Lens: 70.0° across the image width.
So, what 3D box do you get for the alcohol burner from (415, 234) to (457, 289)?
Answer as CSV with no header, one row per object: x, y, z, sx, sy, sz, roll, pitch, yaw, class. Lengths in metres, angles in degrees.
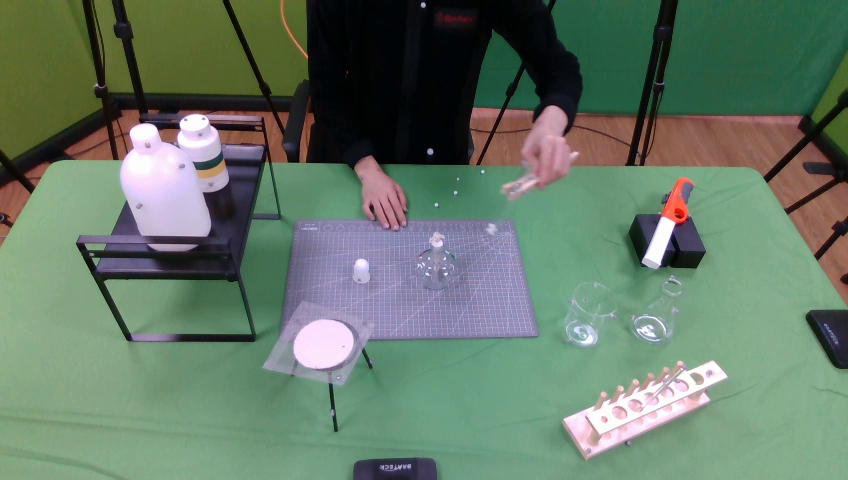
0.022,0.033,1.100,0.078,0.120,0.077,1,47,0,alcohol burner

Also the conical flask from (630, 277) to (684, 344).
0.408,0.117,1.045,0.075,0.122,0.075,2,46,-2,conical flask

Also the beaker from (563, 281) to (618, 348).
0.283,0.129,1.041,0.074,0.101,0.083,11,46,7,beaker

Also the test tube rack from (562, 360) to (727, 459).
0.341,0.247,0.940,0.243,0.085,0.066,-16,49,-18,test tube rack

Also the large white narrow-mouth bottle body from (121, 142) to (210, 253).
-0.378,-0.077,0.875,0.102,0.195,0.101,3,46,-3,large white narrow-mouth bottle body

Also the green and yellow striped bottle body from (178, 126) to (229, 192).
-0.361,-0.142,0.989,0.063,0.120,0.063,2,46,-2,green and yellow striped bottle body

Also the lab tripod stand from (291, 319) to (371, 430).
-0.146,0.193,0.923,0.148,0.132,0.147,1,47,-1,lab tripod stand

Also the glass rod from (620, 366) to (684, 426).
0.322,0.227,0.866,0.008,0.200,0.008,6,51,-7,glass rod

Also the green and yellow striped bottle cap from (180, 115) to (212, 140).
-0.358,-0.177,0.951,0.045,0.020,0.045,1,44,-1,green and yellow striped bottle cap

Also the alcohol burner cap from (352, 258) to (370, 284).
-0.117,0.055,1.118,0.034,0.048,0.033,1,46,-1,alcohol burner cap

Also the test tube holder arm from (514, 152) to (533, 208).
0.160,-0.100,0.982,0.015,0.013,0.177,14,35,-6,test tube holder arm

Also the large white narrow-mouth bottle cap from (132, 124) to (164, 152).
-0.371,-0.138,0.813,0.038,0.024,0.037,3,46,-3,large white narrow-mouth bottle cap

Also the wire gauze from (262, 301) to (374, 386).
-0.150,0.148,0.873,0.121,0.011,0.124,14,46,12,wire gauze

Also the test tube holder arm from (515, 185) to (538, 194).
0.159,-0.078,0.944,0.015,0.010,0.087,16,2,-7,test tube holder arm

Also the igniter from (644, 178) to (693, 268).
0.488,-0.042,1.204,0.057,0.025,0.276,30,51,10,igniter

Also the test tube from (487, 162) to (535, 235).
0.134,-0.061,0.946,0.017,0.151,0.017,14,43,-13,test tube
